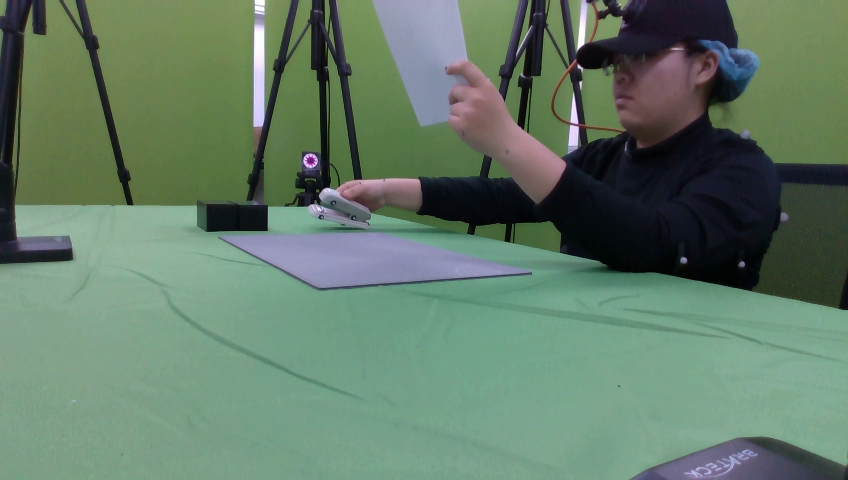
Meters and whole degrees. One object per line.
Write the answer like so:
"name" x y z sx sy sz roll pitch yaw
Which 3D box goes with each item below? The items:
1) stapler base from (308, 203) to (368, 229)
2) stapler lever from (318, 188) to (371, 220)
"stapler base" -0.167 -0.053 1.206 0.131 0.024 0.041 15 31 -37
"stapler lever" -0.155 -0.071 1.198 0.119 0.040 0.026 13 32 -36
